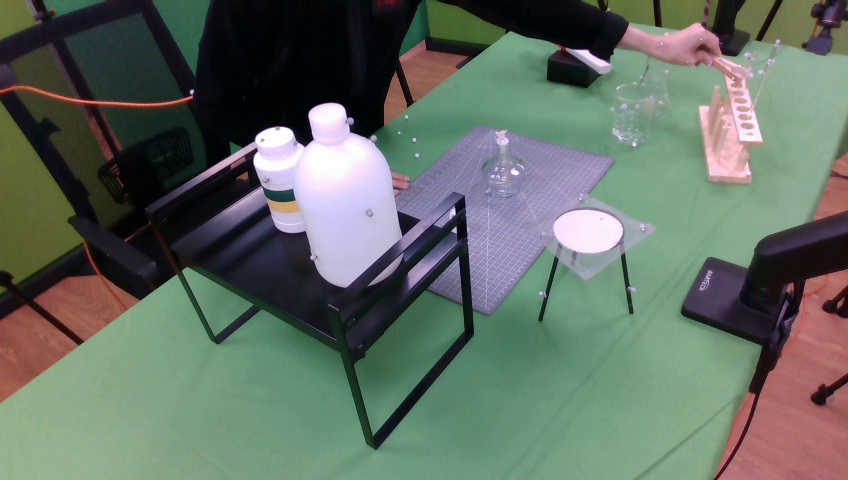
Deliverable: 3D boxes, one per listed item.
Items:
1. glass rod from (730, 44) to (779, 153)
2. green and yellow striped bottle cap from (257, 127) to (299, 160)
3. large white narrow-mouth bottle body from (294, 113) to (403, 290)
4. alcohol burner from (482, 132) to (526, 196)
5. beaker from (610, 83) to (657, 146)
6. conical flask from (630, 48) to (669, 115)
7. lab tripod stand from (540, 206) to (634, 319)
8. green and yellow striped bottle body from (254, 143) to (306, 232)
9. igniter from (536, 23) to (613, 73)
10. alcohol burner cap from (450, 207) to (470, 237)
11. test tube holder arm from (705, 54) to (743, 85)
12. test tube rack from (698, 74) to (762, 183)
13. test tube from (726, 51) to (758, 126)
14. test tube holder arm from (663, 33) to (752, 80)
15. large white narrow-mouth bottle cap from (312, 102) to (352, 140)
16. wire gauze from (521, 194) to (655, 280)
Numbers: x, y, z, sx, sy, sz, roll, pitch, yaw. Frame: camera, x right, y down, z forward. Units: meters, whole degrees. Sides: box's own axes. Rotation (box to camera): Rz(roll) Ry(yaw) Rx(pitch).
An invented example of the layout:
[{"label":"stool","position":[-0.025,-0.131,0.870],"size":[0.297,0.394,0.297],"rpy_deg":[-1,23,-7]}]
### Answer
[{"label":"glass rod","position":[0.555,-0.233,1.020],"size":[0.008,0.200,0.008],"rpy_deg":[2,39,-1]},{"label":"green and yellow striped bottle cap","position":[-0.169,-0.112,0.699],"size":[0.045,0.020,0.045],"rpy_deg":[-6,40,5]},{"label":"large white narrow-mouth bottle body","position":[-0.082,-0.047,0.634],"size":[0.102,0.195,0.101],"rpy_deg":[-4,39,3]},{"label":"alcohol burner","position":[0.137,-0.136,1.042],"size":[0.078,0.119,0.077],"rpy_deg":[-4,43,4]},{"label":"beaker","position":[0.388,-0.235,1.138],"size":[0.074,0.101,0.083],"rpy_deg":[-31,45,-25]},{"label":"conical flask","position":[0.457,-0.317,1.205],"size":[0.075,0.122,0.075],"rpy_deg":[-4,41,4]},{"label":"lab tripod stand","position":[0.218,0.034,0.821],"size":[0.148,0.132,0.147],"rpy_deg":[-4,42,4]},{"label":"green and yellow striped bottle body","position":[-0.165,-0.073,0.732],"size":[0.063,0.120,0.063],"rpy_deg":[-4,41,4]},{"label":"igniter","position":[0.330,-0.439,1.366],"size":[0.057,0.025,0.274],"rpy_deg":[-12,40,-20]},{"label":"alcohol burner cap","position":[0.057,-0.032,0.987],"size":[0.034,0.048,0.033],"rpy_deg":[-5,41,5]},{"label":"test tube holder arm","position":[0.540,-0.310,1.091],"size":[0.010,0.015,0.087],"rpy_deg":[-21,54,-11]},{"label":"test tube rack","position":[0.547,-0.208,1.094],"size":[0.066,0.085,0.242],"rpy_deg":[5,42,15]},{"label":"test tube","position":[0.569,-0.269,1.086],"size":[0.017,0.151,0.017],"rpy_deg":[-3,46,3]},{"label":"test tube holder arm","position":[0.520,-0.340,1.116],"size":[0.013,0.015,0.177],"rpy_deg":[-36,58,-22]},{"label":"large white narrow-mouth bottle cap","position":[-0.088,-0.114,0.579],"size":[0.038,0.024,0.037],"rpy_deg":[-3,39,3]},{"label":"wire gauze","position":[0.207,-0.012,0.772],"size":[0.122,0.011,0.124],"rpy_deg":[-28,44,-20]}]
